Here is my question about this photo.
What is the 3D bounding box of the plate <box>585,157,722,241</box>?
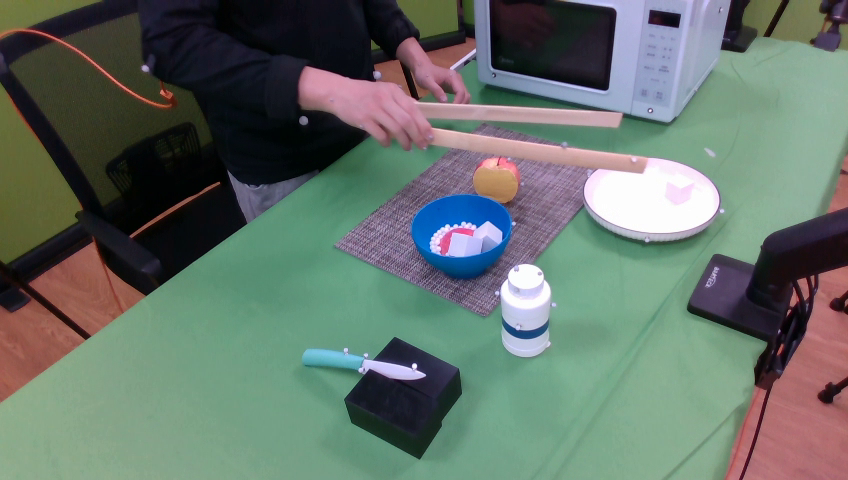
[{"bbox_3d":[0.367,-0.063,0.979,0.207,0.039,0.206,-4,41,4],"label":"plate"}]

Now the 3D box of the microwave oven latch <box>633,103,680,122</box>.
[{"bbox_3d":[0.443,-0.249,1.157,0.078,0.029,0.030,20,48,30],"label":"microwave oven latch"}]

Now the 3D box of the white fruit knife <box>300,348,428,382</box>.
[{"bbox_3d":[-0.080,0.154,0.748,0.206,0.027,0.016,1,20,35],"label":"white fruit knife"}]

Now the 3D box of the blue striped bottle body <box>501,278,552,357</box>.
[{"bbox_3d":[0.129,0.089,0.769,0.063,0.121,0.063,-4,41,4],"label":"blue striped bottle body"}]

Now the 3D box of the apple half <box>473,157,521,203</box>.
[{"bbox_3d":[0.128,-0.107,1.030,0.080,0.075,0.053,5,39,19],"label":"apple half"}]

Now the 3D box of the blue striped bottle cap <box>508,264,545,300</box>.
[{"bbox_3d":[0.125,0.051,0.735,0.044,0.021,0.044,-6,38,5],"label":"blue striped bottle cap"}]

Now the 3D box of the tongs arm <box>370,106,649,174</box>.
[{"bbox_3d":[0.114,-0.139,0.837,0.385,0.026,0.050,7,40,-2],"label":"tongs arm"}]

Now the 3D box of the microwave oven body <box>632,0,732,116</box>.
[{"bbox_3d":[0.377,-0.462,1.267,0.438,0.261,0.327,21,48,30],"label":"microwave oven body"}]

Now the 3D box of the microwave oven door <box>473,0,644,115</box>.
[{"bbox_3d":[0.257,-0.396,1.199,0.353,0.245,0.039,21,48,29],"label":"microwave oven door"}]

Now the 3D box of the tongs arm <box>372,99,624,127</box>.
[{"bbox_3d":[0.115,-0.185,0.895,0.389,0.028,0.028,0,45,-11],"label":"tongs arm"}]

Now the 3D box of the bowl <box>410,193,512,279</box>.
[{"bbox_3d":[0.058,0.005,0.905,0.151,0.077,0.150,-4,40,4],"label":"bowl"}]

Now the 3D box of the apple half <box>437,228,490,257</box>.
[{"bbox_3d":[0.056,0.002,0.902,0.081,0.033,0.081,-3,41,3],"label":"apple half"}]
